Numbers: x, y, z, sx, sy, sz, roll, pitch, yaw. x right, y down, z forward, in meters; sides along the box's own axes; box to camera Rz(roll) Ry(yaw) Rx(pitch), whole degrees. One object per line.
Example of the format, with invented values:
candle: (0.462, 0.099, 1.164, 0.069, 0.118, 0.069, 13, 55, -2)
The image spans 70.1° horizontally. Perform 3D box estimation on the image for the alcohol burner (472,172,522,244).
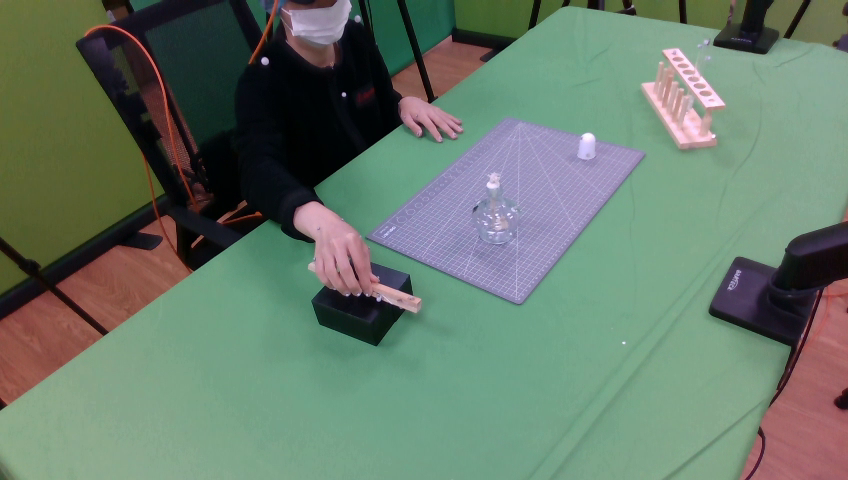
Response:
alcohol burner: (0.112, -0.053, 0.942, 0.078, 0.119, 0.077, -6, 40, 5)

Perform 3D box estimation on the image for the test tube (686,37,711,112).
test tube: (0.509, -0.306, 1.128, 0.017, 0.151, 0.017, -3, 45, 3)

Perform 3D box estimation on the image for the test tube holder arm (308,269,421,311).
test tube holder arm: (-0.085, 0.068, 0.834, 0.177, 0.013, 0.015, 14, 13, 23)

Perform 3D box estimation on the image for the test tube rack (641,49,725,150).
test tube rack: (0.495, -0.279, 1.175, 0.067, 0.085, 0.241, -5, 41, 3)

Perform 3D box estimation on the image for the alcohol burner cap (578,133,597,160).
alcohol burner cap: (0.301, -0.174, 1.111, 0.034, 0.048, 0.033, -5, 41, 4)

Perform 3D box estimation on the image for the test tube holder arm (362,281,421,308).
test tube holder arm: (-0.044, 0.073, 0.815, 0.087, 0.010, 0.015, 17, 14, 23)
